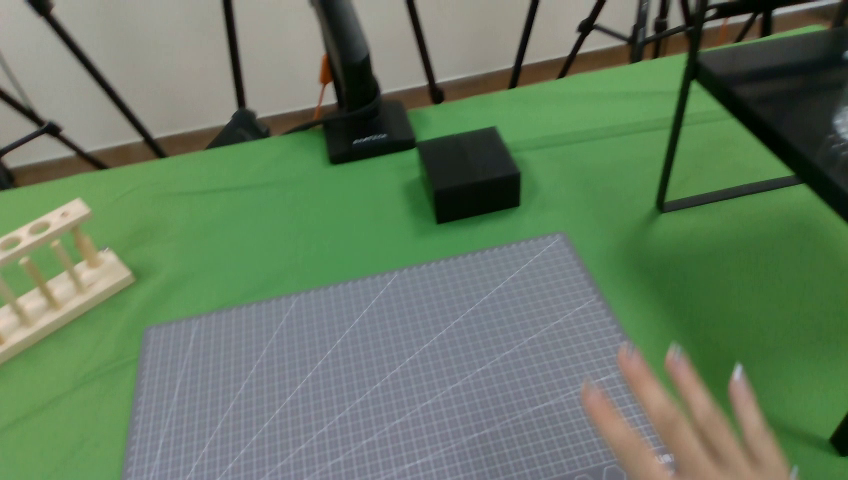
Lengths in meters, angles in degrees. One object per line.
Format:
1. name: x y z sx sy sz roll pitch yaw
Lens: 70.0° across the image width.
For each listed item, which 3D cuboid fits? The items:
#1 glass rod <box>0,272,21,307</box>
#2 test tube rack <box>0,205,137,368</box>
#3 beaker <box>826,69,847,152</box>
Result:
1. glass rod: -0.431 -0.002 0.585 0.008 0.201 0.008 -2 34 2
2. test tube rack: -0.430 0.069 0.605 0.242 0.086 0.066 -37 50 -29
3. beaker: 0.330 -0.112 0.419 0.074 0.101 0.083 -30 46 -23
